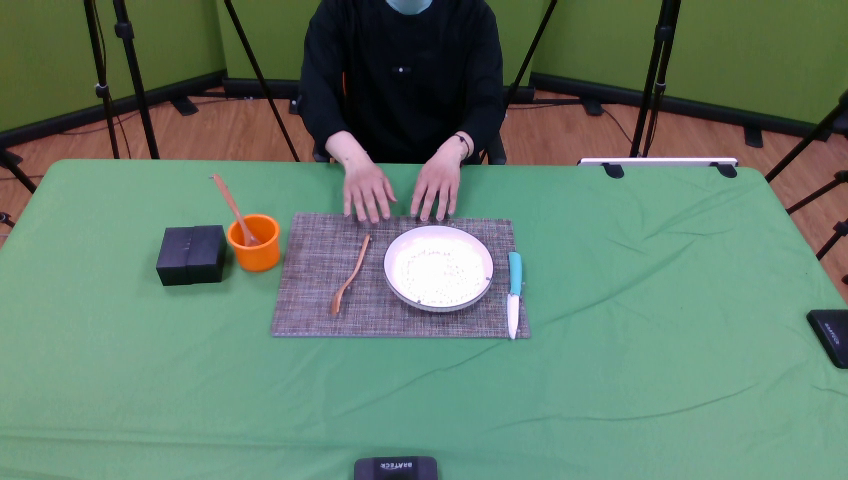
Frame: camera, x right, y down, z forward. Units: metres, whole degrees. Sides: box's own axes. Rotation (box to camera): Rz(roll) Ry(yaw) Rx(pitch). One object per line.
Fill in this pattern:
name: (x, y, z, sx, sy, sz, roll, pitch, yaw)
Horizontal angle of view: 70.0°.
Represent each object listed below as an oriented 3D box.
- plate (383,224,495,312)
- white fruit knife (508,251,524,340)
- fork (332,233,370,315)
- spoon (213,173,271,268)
plate: (0.026, 0.055, 1.128, 0.209, 0.038, 0.208, 2, 46, -2)
white fruit knife: (0.169, 0.098, 1.113, 0.027, 0.016, 0.206, -13, 43, 23)
fork: (-0.133, 0.058, 1.127, 0.019, 0.028, 0.206, 35, 43, -12)
spoon: (-0.338, -0.036, 1.119, 0.041, 0.194, 0.021, -28, 10, -24)
